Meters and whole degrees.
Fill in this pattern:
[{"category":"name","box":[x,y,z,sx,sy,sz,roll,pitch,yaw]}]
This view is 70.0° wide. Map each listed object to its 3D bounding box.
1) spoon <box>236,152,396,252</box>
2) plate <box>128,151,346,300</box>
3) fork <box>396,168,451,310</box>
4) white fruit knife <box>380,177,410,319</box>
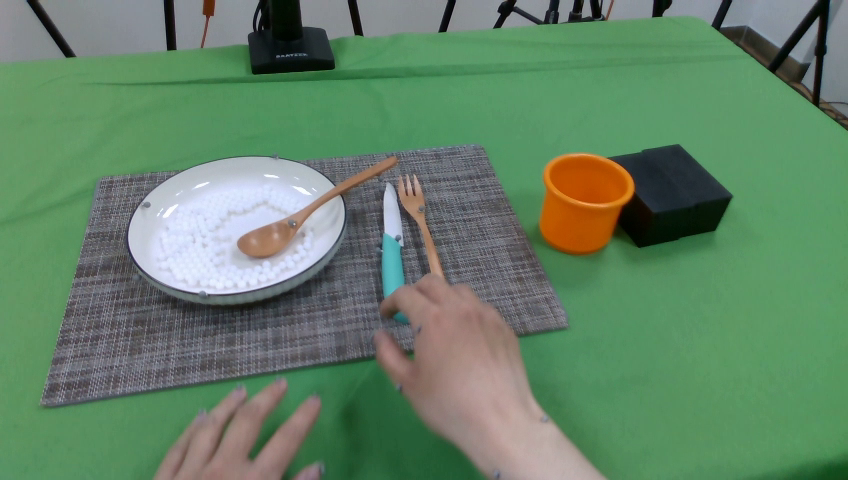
[{"category":"spoon","box":[-0.105,-0.043,0.623,0.193,0.022,0.041,-36,54,-19]},{"category":"plate","box":[-0.182,-0.015,0.610,0.209,0.038,0.207,2,44,-2]},{"category":"fork","box":[-0.001,-0.008,0.629,0.028,0.019,0.205,2,41,-19]},{"category":"white fruit knife","box":[-0.034,-0.002,0.625,0.027,0.016,0.205,23,35,-25]}]
